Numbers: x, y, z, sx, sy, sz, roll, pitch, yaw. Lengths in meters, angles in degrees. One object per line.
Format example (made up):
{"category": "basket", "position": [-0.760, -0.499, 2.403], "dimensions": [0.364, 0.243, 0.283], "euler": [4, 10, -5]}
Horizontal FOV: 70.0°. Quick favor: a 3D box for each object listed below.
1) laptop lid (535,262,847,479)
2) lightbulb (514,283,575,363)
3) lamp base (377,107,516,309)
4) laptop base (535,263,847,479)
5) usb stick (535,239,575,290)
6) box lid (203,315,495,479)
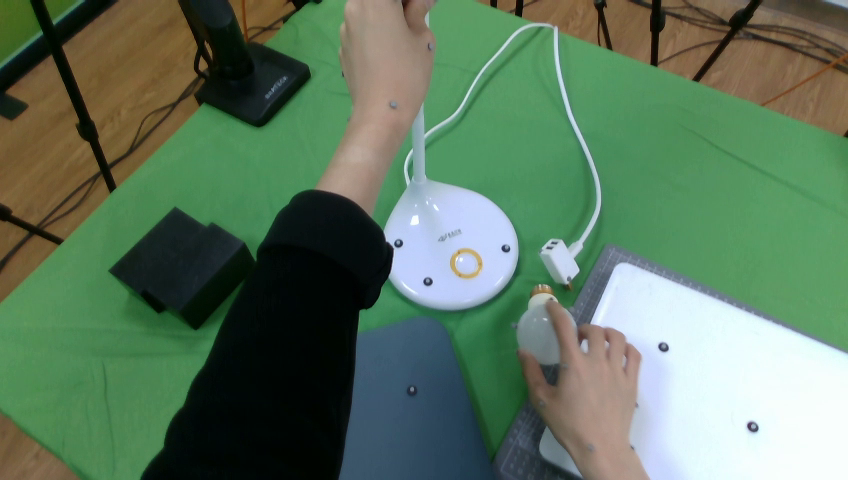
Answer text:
{"category": "laptop lid", "position": [0.312, 0.179, 0.584], "dimensions": [0.355, 0.013, 0.241], "euler": [25, 65, 16]}
{"category": "lightbulb", "position": [0.121, 0.079, 0.619], "dimensions": [0.059, 0.060, 0.107], "euler": [3, 30, 4]}
{"category": "lamp base", "position": [0.015, -0.041, 0.643], "dimensions": [0.160, 0.182, 0.177], "euler": [-34, 61, -17]}
{"category": "laptop base", "position": [0.313, 0.184, 0.595], "dimensions": [0.352, 0.023, 0.234], "euler": [24, 66, 15]}
{"category": "usb stick", "position": [0.149, 0.029, 0.675], "dimensions": [0.027, 0.059, 0.021], "euler": [-40, 23, -24]}
{"category": "box lid", "position": [-0.059, 0.259, 0.566], "dimensions": [0.263, 0.015, 0.367], "euler": [-15, 61, -7]}
